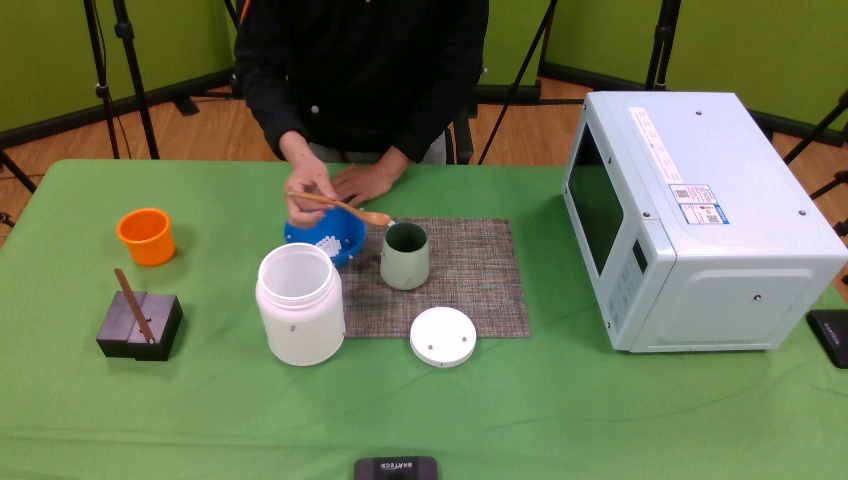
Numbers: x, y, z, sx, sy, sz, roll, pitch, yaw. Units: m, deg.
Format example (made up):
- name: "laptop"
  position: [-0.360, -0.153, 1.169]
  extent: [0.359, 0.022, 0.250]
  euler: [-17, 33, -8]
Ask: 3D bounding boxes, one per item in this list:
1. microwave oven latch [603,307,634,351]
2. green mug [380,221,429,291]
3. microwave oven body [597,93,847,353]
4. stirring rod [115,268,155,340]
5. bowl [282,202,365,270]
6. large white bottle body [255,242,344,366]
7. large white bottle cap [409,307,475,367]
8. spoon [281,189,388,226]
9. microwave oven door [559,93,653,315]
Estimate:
- name: "microwave oven latch"
  position: [0.332, 0.153, 1.044]
  extent: [0.030, 0.029, 0.078]
  euler: [0, 45, -4]
- name: "green mug"
  position: [-0.043, 0.020, 1.116]
  extent: [0.092, 0.105, 0.124]
  euler: [-20, 50, -21]
- name: "microwave oven body"
  position: [0.475, -0.041, 1.109]
  extent: [0.326, 0.261, 0.438]
  euler: [-1, 45, -4]
- name: "stirring rod"
  position: [-0.479, 0.103, 0.999]
  extent: [0.014, 0.006, 0.175]
  euler: [8, 32, -50]
- name: "bowl"
  position: [-0.185, 0.006, 1.137]
  extent: [0.151, 0.077, 0.150]
  euler: [3, 46, -3]
- name: "large white bottle body"
  position: [-0.196, 0.102, 0.967]
  extent: [0.131, 0.185, 0.130]
  euler: [2, 49, -2]
- name: "large white bottle cap"
  position: [0.031, 0.165, 1.041]
  extent: [0.115, 0.018, 0.114]
  euler: [2, 47, -2]
- name: "spoon"
  position: [-0.141, -0.055, 0.979]
  extent: [0.195, 0.021, 0.041]
  euler: [20, 23, -37]
- name: "microwave oven door"
  position: [0.327, -0.074, 1.123]
  extent: [0.039, 0.245, 0.353]
  euler: [-1, 46, -5]
